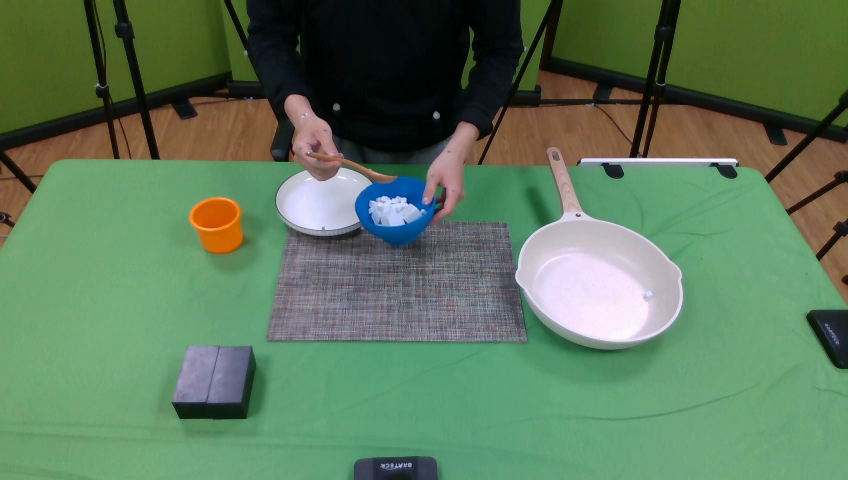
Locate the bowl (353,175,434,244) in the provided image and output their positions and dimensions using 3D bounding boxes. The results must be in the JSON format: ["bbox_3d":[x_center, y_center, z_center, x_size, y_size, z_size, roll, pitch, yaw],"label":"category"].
[{"bbox_3d":[-0.052,-0.046,1.128,0.151,0.077,0.150,-4,42,4],"label":"bowl"}]

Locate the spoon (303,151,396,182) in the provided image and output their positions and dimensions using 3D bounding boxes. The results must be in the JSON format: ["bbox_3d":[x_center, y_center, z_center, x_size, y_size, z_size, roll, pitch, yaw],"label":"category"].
[{"bbox_3d":[-0.122,-0.124,1.020,0.041,0.195,0.021,-2,77,44],"label":"spoon"}]

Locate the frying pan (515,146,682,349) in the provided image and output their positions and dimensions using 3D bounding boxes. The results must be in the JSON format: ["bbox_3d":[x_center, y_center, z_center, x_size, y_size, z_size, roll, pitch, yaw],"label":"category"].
[{"bbox_3d":[0.303,-0.004,1.168,0.307,0.103,0.484,-1,55,-7],"label":"frying pan"}]

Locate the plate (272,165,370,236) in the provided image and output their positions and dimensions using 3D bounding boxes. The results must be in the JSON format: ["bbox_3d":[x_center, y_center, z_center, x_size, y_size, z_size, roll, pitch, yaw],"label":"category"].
[{"bbox_3d":[-0.204,-0.076,1.240,0.208,0.039,0.206,3,44,-2],"label":"plate"}]
